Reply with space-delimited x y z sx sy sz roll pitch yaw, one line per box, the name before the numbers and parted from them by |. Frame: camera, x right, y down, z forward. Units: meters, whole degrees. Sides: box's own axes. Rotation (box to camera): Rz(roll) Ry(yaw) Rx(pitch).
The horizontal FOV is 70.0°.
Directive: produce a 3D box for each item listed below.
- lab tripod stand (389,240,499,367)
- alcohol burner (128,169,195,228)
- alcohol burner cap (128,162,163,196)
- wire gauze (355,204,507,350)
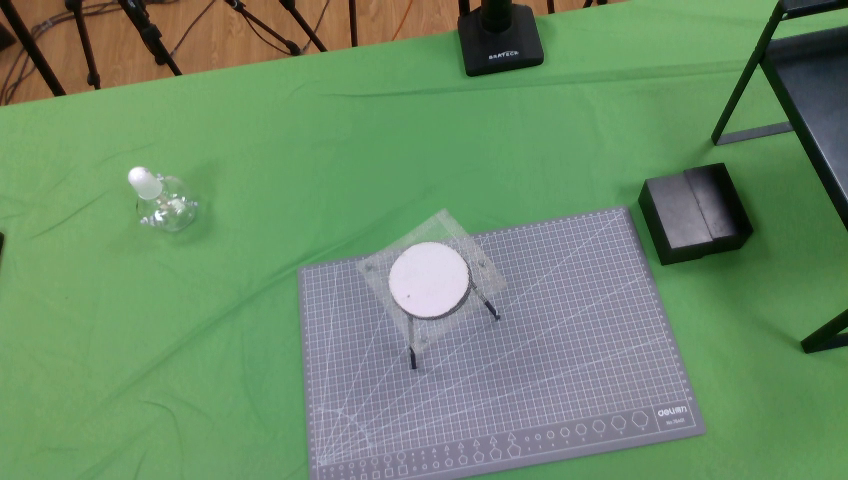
lab tripod stand | 0.011 0.066 0.705 0.148 0.132 0.147 -3 64 7
alcohol burner | -0.363 -0.066 0.824 0.078 0.120 0.077 -2 65 5
alcohol burner cap | -0.367 -0.083 0.792 0.034 0.048 0.033 0 65 -1
wire gauze | 0.006 0.034 0.645 0.121 0.011 0.124 -33 65 -9
